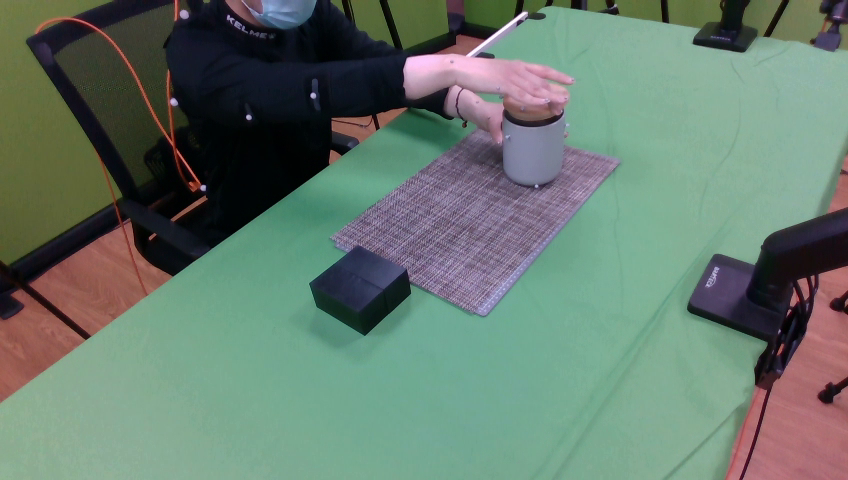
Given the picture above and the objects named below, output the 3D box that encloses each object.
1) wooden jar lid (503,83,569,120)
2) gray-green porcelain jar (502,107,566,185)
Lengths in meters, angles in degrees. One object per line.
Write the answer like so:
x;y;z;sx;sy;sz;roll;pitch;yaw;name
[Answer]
0.185;-0.228;0.997;0.108;0.021;0.108;-7;39;6;wooden jar lid
0.189;-0.168;1.051;0.106;0.127;0.105;-4;41;4;gray-green porcelain jar
